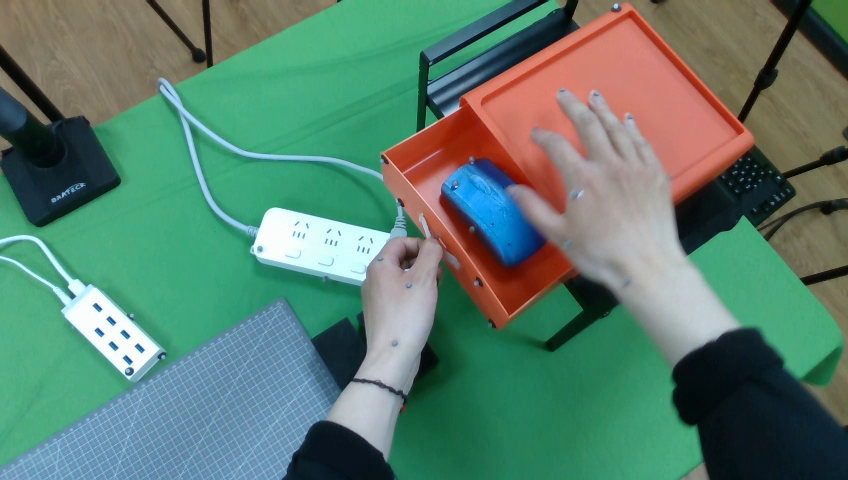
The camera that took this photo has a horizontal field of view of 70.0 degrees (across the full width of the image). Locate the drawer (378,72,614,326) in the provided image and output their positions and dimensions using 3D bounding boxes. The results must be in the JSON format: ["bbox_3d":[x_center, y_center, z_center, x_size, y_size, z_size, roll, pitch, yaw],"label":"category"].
[{"bbox_3d":[0.094,-0.055,0.590,0.212,0.073,0.193,-33,75,-13],"label":"drawer"}]

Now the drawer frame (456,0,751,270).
[{"bbox_3d":[0.171,-0.108,0.611,0.213,0.083,0.200,-33,76,-14],"label":"drawer frame"}]

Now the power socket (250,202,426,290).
[{"bbox_3d":[-0.109,0.008,0.772,0.227,0.033,0.072,13,71,2],"label":"power socket"}]

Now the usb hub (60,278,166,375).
[{"bbox_3d":[-0.375,0.104,0.730,0.124,0.025,0.049,39,75,10],"label":"usb hub"}]

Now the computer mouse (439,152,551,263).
[{"bbox_3d":[0.069,-0.036,0.597,0.063,0.041,0.116,-36,73,-10],"label":"computer mouse"}]

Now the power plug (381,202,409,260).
[{"bbox_3d":[-0.028,-0.009,0.762,0.035,0.053,0.072,24,70,6],"label":"power plug"}]
